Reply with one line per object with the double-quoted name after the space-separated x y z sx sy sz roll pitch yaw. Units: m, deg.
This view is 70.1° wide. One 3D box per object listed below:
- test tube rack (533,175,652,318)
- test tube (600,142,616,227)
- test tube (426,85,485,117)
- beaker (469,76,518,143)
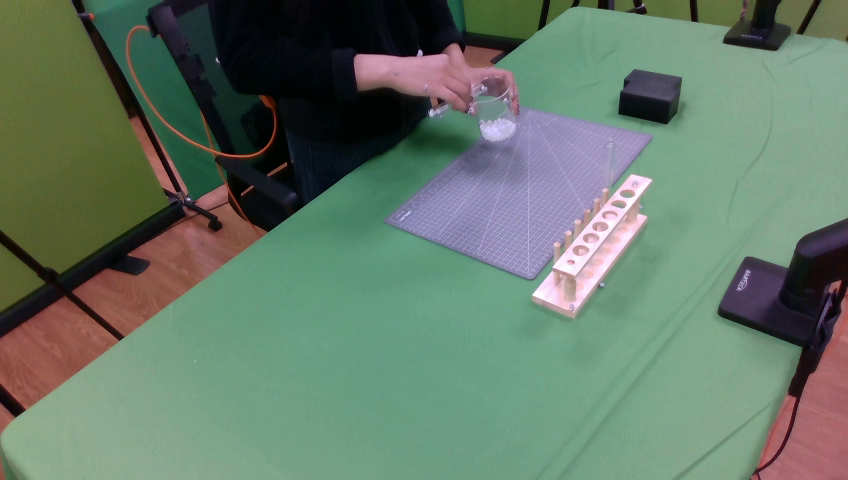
0.251 -0.001 0.888 0.066 0.085 0.243 22 49 33 "test tube rack"
0.275 -0.081 0.908 0.017 0.151 0.017 -5 40 5 "test tube"
0.054 -0.233 1.008 0.017 0.017 0.151 24 40 33 "test tube"
0.126 -0.232 1.094 0.084 0.101 0.073 -37 47 -14 "beaker"
